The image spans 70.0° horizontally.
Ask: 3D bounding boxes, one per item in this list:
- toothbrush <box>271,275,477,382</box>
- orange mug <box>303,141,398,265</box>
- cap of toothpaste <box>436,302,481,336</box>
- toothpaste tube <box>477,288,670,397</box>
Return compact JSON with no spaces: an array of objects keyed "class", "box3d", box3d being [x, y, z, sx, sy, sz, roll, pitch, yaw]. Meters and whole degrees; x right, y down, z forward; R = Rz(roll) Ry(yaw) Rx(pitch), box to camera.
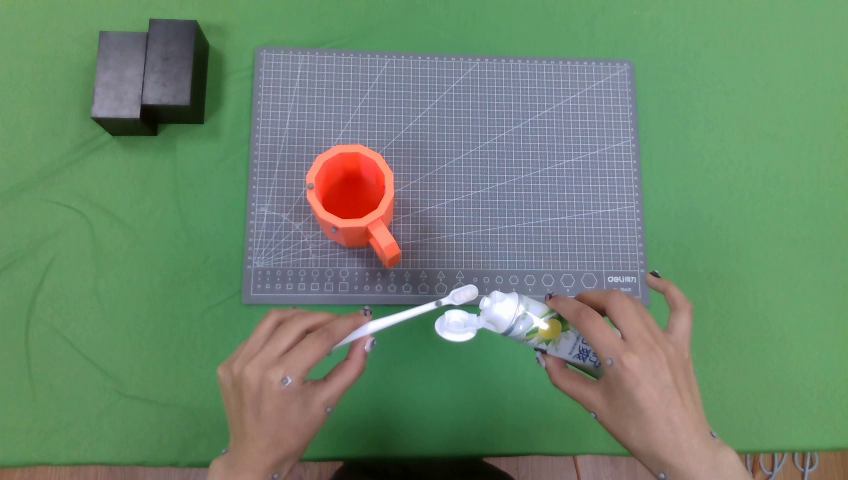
[{"class":"toothbrush","box3d":[-0.042,0.072,0.487,0.182,0.014,0.016,-26,73,3]},{"class":"orange mug","box3d":[-0.068,-0.032,0.629,0.083,0.101,0.125,-34,79,-10]},{"class":"cap of toothpaste","box3d":[0.028,0.062,0.482,0.037,0.011,0.037,2,36,-1]},{"class":"toothpaste tube","box3d":[0.116,0.078,0.486,0.165,0.034,0.055,21,103,-10]}]
